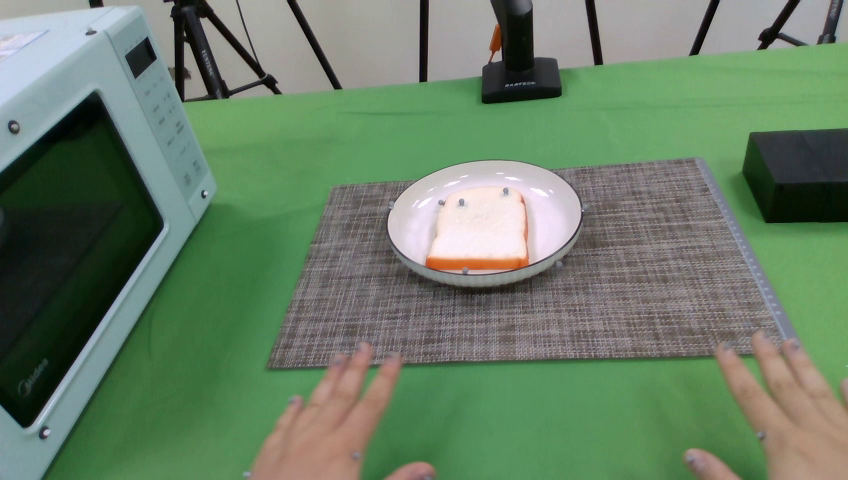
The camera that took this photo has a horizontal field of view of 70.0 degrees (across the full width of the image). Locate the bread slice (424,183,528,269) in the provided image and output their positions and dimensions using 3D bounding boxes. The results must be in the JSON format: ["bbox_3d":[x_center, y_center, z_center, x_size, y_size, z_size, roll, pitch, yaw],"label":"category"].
[{"bbox_3d":[0.059,-0.018,0.652,0.105,0.019,0.130,-1,40,10],"label":"bread slice"}]

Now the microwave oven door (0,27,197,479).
[{"bbox_3d":[-0.321,-0.001,0.524,0.039,0.246,0.352,-3,39,9],"label":"microwave oven door"}]

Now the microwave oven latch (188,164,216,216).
[{"bbox_3d":[-0.285,-0.062,0.755,0.030,0.030,0.078,-2,40,9],"label":"microwave oven latch"}]

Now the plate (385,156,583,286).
[{"bbox_3d":[0.062,-0.020,0.651,0.209,0.038,0.207,-6,39,5],"label":"plate"}]

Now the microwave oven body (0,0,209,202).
[{"bbox_3d":[-0.461,-0.016,0.581,0.325,0.263,0.437,-2,40,8],"label":"microwave oven body"}]
